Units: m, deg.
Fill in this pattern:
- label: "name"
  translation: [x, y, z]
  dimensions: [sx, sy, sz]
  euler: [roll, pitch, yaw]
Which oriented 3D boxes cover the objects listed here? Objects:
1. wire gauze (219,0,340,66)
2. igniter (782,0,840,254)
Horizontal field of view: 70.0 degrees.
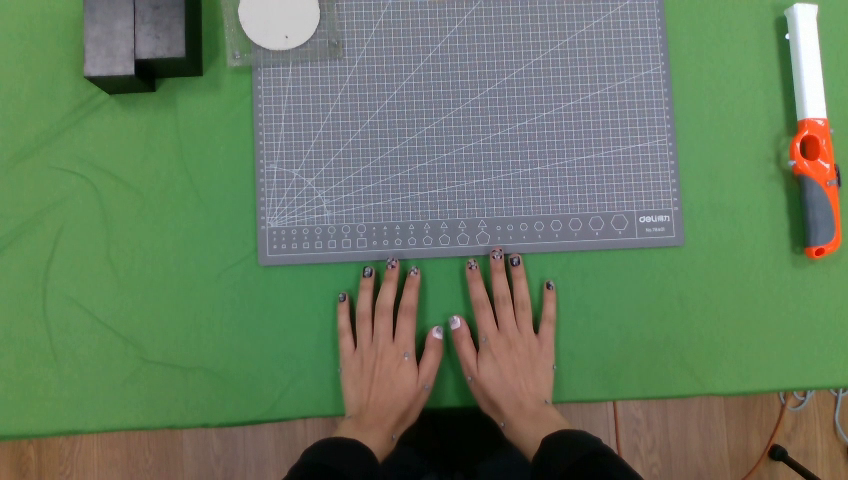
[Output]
- label: "wire gauze"
  translation: [-0.159, -0.250, 0.650]
  dimensions: [0.125, 0.011, 0.121]
  euler: [-8, 84, -2]
- label: "igniter"
  translation: [0.415, -0.123, 0.651]
  dimensions: [0.057, 0.025, 0.276]
  euler: [-1, 85, -13]
